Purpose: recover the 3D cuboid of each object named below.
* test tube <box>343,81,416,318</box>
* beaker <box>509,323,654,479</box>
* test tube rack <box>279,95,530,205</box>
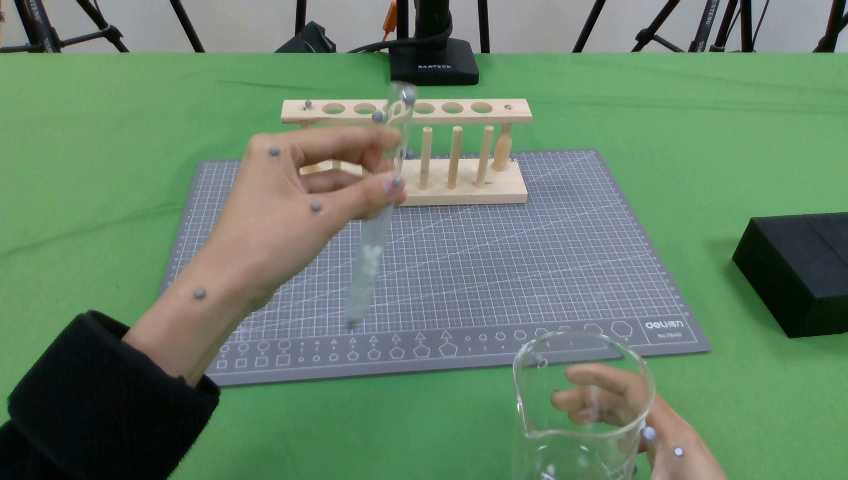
[{"bbox_3d":[-0.028,-0.018,0.359,0.017,0.151,0.017,12,23,-5],"label":"test tube"},{"bbox_3d":[0.084,0.111,0.350,0.084,0.101,0.073,-32,44,-32],"label":"beaker"},{"bbox_3d":[-0.018,-0.091,0.610,0.243,0.086,0.066,-2,42,-5],"label":"test tube rack"}]
